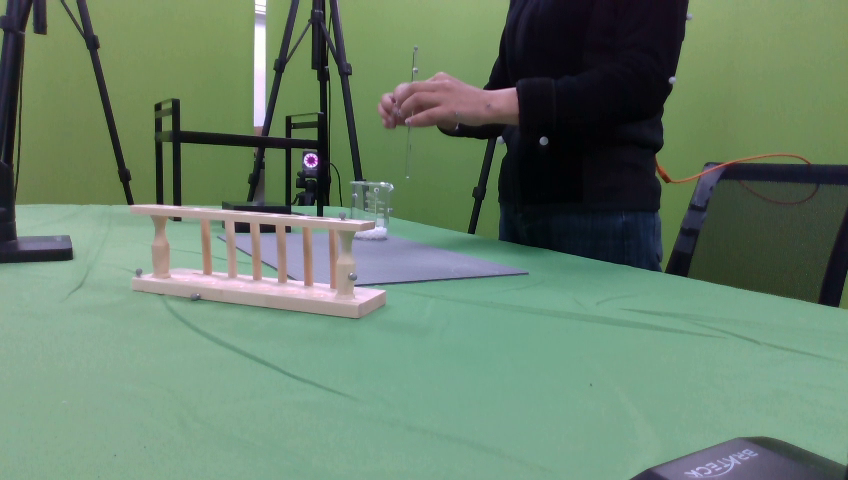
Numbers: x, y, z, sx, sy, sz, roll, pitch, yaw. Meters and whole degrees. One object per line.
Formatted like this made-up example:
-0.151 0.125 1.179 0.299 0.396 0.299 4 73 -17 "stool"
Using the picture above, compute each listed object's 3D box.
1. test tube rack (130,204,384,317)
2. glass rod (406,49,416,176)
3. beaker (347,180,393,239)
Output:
-0.163 0.013 0.589 0.242 0.085 0.067 5 8 17 "test tube rack"
-0.021 -0.201 0.965 0.008 0.199 0.008 3 15 -1 "glass rod"
-0.095 -0.054 1.064 0.084 0.100 0.074 6 9 21 "beaker"
